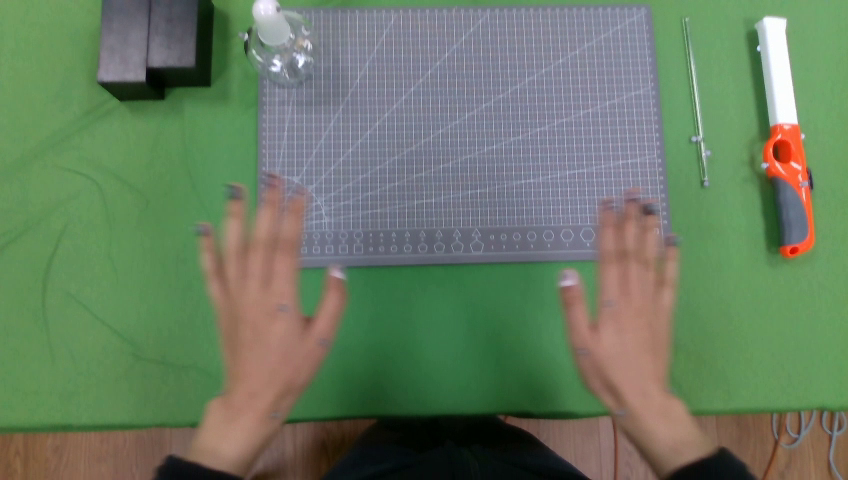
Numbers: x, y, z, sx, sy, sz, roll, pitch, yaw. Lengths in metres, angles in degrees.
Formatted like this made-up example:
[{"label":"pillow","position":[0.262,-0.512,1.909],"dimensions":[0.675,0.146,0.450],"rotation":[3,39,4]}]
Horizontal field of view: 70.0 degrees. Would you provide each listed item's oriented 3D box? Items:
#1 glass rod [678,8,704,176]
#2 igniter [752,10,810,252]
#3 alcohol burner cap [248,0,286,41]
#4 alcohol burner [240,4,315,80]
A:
[{"label":"glass rod","position":[0.304,-0.170,0.688],"dimensions":[0.008,0.008,0.199],"rotation":[-3,82,-3]},{"label":"igniter","position":[0.397,-0.124,0.676],"dimensions":[0.057,0.025,0.275],"rotation":[0,82,-13]},{"label":"alcohol burner cap","position":[-0.154,-0.220,0.587],"dimensions":[0.034,0.048,0.033],"rotation":[1,75,-3]},{"label":"alcohol burner","position":[-0.154,-0.213,0.622],"dimensions":[0.078,0.119,0.077],"rotation":[0,82,0]}]
